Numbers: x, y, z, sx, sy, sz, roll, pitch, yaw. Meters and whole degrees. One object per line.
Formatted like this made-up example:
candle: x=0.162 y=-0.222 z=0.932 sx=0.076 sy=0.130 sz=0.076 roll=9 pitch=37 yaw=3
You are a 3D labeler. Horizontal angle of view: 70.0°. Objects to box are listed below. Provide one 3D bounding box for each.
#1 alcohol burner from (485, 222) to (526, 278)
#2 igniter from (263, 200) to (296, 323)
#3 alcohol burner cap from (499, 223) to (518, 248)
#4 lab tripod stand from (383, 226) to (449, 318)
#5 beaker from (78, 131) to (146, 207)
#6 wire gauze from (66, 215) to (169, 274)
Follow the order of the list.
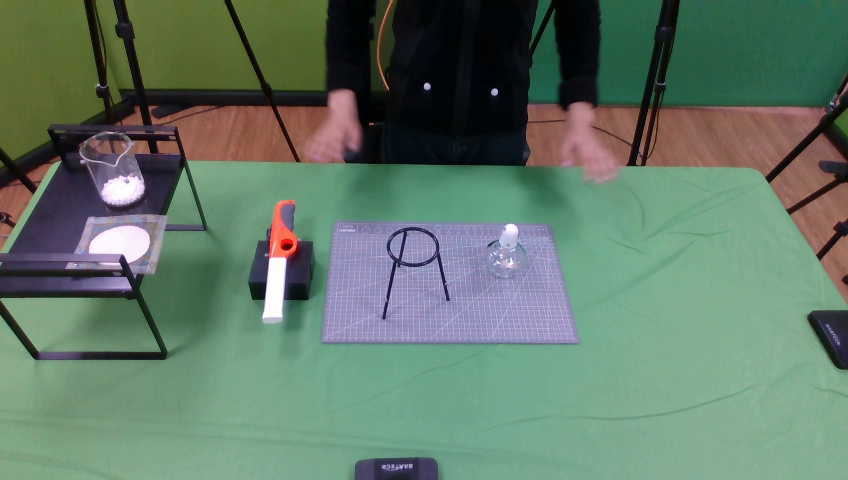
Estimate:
alcohol burner: x=0.154 y=0.014 z=1.129 sx=0.078 sy=0.119 sz=0.077 roll=3 pitch=44 yaw=-2
igniter: x=-0.260 y=0.027 z=1.083 sx=0.057 sy=0.025 sz=0.274 roll=0 pitch=49 yaw=-7
alcohol burner cap: x=0.156 y=-0.010 z=1.102 sx=0.034 sy=0.048 sz=0.033 roll=1 pitch=53 yaw=-1
lab tripod stand: x=-0.023 y=0.055 z=1.062 sx=0.148 sy=0.132 sz=0.147 roll=2 pitch=48 yaw=-2
beaker: x=-0.488 y=-0.108 z=0.961 sx=0.074 sy=0.101 sz=0.083 roll=-25 pitch=54 yaw=-25
wire gauze: x=-0.460 y=0.004 z=0.919 sx=0.125 sy=0.011 sz=0.120 roll=0 pitch=44 yaw=-7
